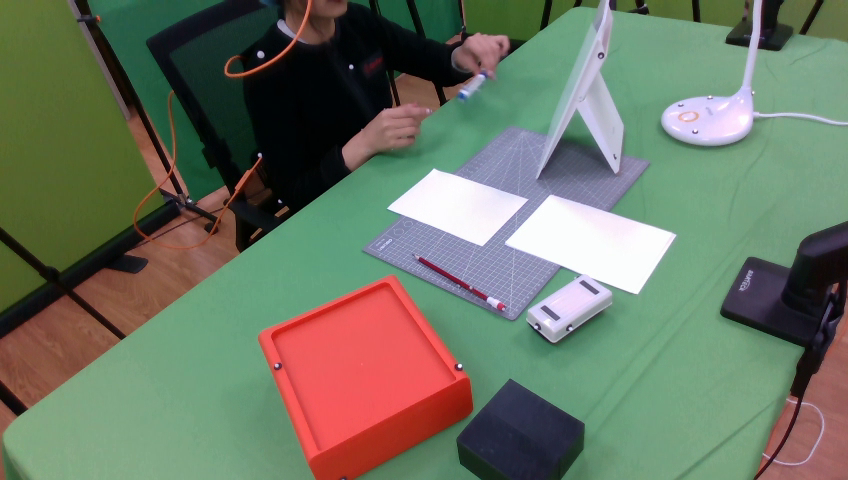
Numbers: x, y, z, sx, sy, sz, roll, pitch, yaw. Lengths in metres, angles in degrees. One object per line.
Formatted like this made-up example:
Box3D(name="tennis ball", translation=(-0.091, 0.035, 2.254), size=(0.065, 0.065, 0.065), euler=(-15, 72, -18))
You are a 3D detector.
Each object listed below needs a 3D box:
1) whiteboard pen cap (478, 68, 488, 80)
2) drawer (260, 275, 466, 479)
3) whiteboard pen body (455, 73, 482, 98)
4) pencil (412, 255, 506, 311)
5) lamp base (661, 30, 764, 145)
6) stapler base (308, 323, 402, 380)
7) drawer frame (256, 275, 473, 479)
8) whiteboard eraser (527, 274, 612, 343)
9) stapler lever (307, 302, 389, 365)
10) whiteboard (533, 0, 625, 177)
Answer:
Box3D(name="whiteboard pen cap", translation=(0.117, -0.336, 1.226), size=(0.018, 0.018, 0.033), euler=(9, 37, 21))
Box3D(name="drawer", translation=(-0.080, 0.163, 0.760), size=(0.195, 0.073, 0.210), euler=(-22, 42, -16))
Box3D(name="whiteboard pen body", translation=(0.092, -0.306, 1.181), size=(0.017, 0.017, 0.141), euler=(11, 35, 22))
Box3D(name="pencil", translation=(0.047, 0.060, 0.906), size=(0.012, 0.012, 0.192), euler=(-37, 46, -29))
Box3D(name="lamp base", translation=(0.535, -0.287, 1.096), size=(0.179, 0.181, 0.159), euler=(-10, 40, -4))
Box3D(name="stapler base", translation=(-0.094, 0.142, 0.812), size=(0.131, 0.024, 0.041), euler=(-25, 29, -17))
Box3D(name="drawer frame", translation=(-0.078, 0.163, 0.756), size=(0.202, 0.083, 0.211), euler=(-23, 43, -17))
Box3D(name="whiteboard eraser", translation=(0.198, 0.094, 0.819), size=(0.113, 0.042, 0.055), euler=(-29, 43, -22))
Box3D(name="stapler lever", translation=(-0.101, 0.121, 0.799), size=(0.118, 0.040, 0.026), euler=(-25, 29, -17))
Box3D(name="whiteboard", translation=(0.321, -0.258, 1.049), size=(0.144, 0.306, 0.217), euler=(20, 45, 4))
